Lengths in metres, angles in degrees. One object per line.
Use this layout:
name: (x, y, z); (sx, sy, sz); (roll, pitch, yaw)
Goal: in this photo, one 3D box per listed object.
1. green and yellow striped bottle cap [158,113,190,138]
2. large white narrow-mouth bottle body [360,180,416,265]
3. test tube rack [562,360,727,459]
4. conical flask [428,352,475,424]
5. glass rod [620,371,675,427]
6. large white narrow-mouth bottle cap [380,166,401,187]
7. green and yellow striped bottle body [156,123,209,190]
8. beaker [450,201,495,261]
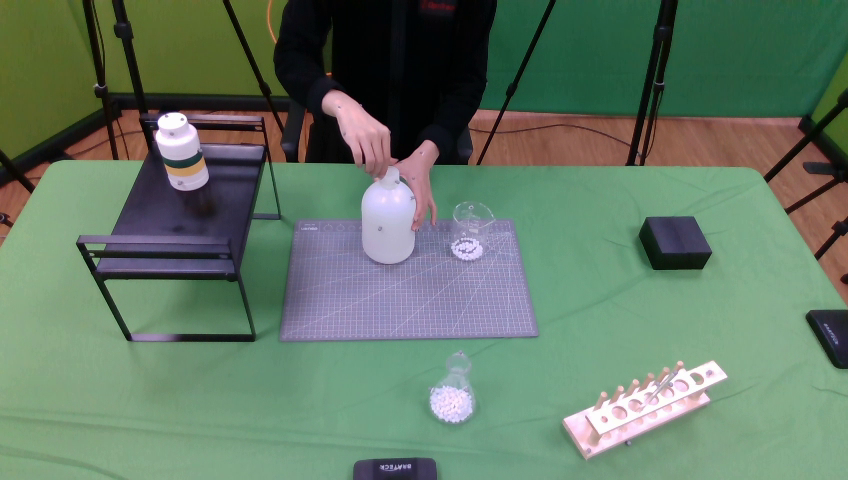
green and yellow striped bottle cap: (-0.393, -0.180, 0.951); (0.045, 0.020, 0.045); (2, 44, -2)
large white narrow-mouth bottle body: (-0.066, -0.050, 1.119); (0.102, 0.195, 0.101); (4, 46, -4)
test tube rack: (0.341, 0.247, 0.940); (0.243, 0.085, 0.066); (-16, 49, -18)
conical flask: (0.046, 0.220, 0.920); (0.075, 0.122, 0.075); (2, 46, -2)
glass rod: (0.316, 0.230, 0.863); (0.008, 0.200, 0.008); (3, 54, -3)
large white narrow-mouth bottle cap: (-0.057, -0.111, 1.056); (0.038, 0.024, 0.037); (4, 45, -4)
green and yellow striped bottle body: (-0.395, -0.145, 0.989); (0.063, 0.120, 0.063); (2, 46, -2)
beaker: (0.089, -0.014, 1.160); (0.084, 0.101, 0.073); (9, 47, 4)
